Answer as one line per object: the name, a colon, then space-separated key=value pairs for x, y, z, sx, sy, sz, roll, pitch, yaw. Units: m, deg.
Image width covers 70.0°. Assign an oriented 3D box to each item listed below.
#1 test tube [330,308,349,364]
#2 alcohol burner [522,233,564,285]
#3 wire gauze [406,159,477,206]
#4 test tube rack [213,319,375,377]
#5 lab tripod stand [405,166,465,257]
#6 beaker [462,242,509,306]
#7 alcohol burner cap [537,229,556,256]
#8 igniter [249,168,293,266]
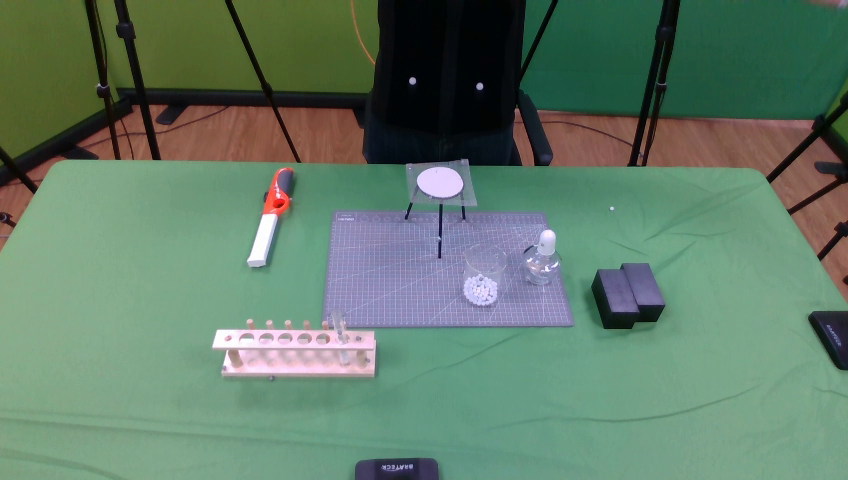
test tube: x=-0.129 y=0.151 z=0.931 sx=0.017 sy=0.151 sz=0.017 roll=0 pitch=50 yaw=0
alcohol burner: x=0.223 y=0.027 z=1.121 sx=0.078 sy=0.119 sz=0.077 roll=2 pitch=48 yaw=-2
wire gauze: x=0.031 y=-0.108 z=1.129 sx=0.125 sy=0.011 sz=0.120 roll=-1 pitch=48 yaw=-5
test tube rack: x=-0.202 y=0.170 z=0.977 sx=0.242 sy=0.085 sz=0.066 roll=1 pitch=46 yaw=-3
lab tripod stand: x=0.030 y=-0.063 z=1.180 sx=0.148 sy=0.132 sz=0.147 roll=3 pitch=47 yaw=-3
beaker: x=0.105 y=0.064 z=1.087 sx=0.084 sy=0.101 sz=0.073 roll=18 pitch=47 yaw=14
alcohol burner cap: x=0.223 y=0.001 z=1.095 sx=0.034 sy=0.048 sz=0.033 roll=-1 pitch=44 yaw=1
igniter: x=-0.307 y=-0.055 z=1.225 sx=0.057 sy=0.025 sz=0.275 roll=-4 pitch=45 yaw=6
